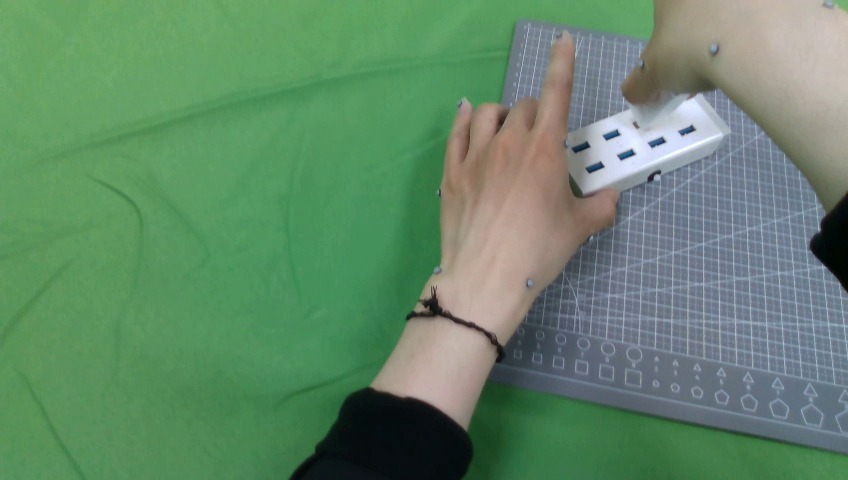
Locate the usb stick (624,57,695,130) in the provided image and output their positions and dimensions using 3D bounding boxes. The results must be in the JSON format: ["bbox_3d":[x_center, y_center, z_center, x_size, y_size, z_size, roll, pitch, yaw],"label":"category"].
[{"bbox_3d":[0.153,-0.093,0.403,0.021,0.059,0.027,-25,76,-12],"label":"usb stick"}]

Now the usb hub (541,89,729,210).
[{"bbox_3d":[0.149,-0.067,0.430,0.125,0.025,0.049,-22,66,-13],"label":"usb hub"}]
